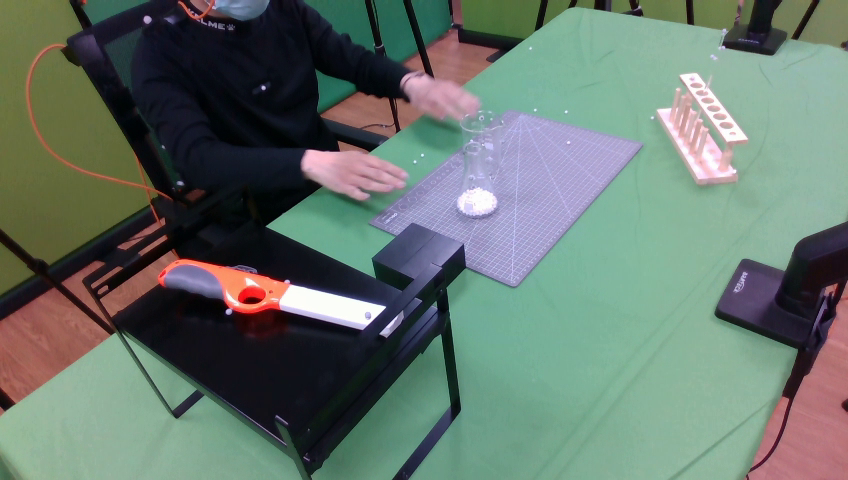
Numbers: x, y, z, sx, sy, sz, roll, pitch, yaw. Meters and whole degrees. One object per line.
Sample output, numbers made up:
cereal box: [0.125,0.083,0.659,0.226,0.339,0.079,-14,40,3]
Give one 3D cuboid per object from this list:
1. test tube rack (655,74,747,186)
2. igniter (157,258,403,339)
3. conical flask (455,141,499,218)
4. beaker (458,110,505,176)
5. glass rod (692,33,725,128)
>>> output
test tube rack: [0.491,-0.205,1.092,0.067,0.085,0.241,-5,40,3]
igniter: [-0.157,0.059,0.638,0.275,0.025,0.057,11,43,14]
conical flask: [0.085,-0.103,0.999,0.075,0.122,0.075,-4,40,4]
beaker: [0.106,-0.174,1.097,0.084,0.101,0.074,5,42,13]
glass rod: [0.501,-0.277,1.073,0.008,0.200,0.008,-3,50,4]
